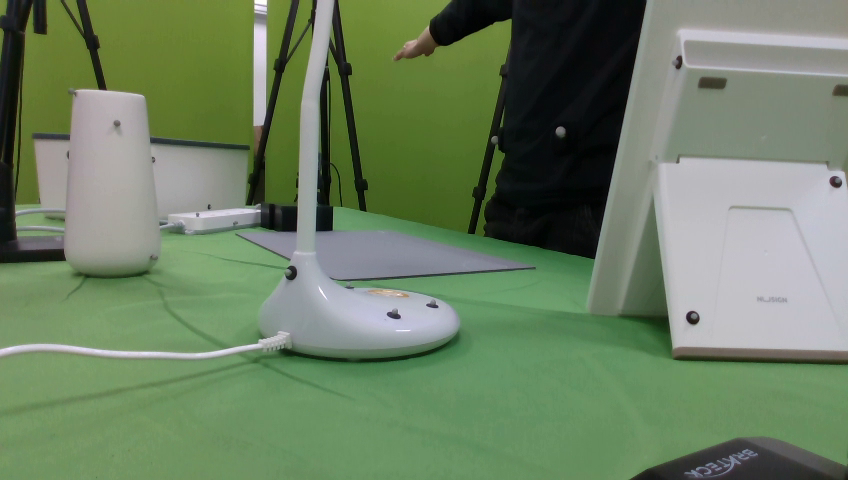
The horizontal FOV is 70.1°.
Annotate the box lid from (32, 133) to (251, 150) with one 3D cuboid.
[{"bbox_3d":[-0.558,-0.200,1.250,0.263,0.015,0.372,5,8,13],"label":"box lid"}]

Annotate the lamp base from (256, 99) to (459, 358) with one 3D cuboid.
[{"bbox_3d":[-0.055,-0.013,0.463,0.160,0.180,0.180,6,11,27],"label":"lamp base"}]

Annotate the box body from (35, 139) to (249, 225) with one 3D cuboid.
[{"bbox_3d":[-0.561,-0.127,1.258,0.254,0.160,0.365,4,8,13],"label":"box body"}]

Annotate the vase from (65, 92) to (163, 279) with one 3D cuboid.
[{"bbox_3d":[-0.347,-0.060,0.673,0.098,0.200,0.098,1,7,0],"label":"vase"}]

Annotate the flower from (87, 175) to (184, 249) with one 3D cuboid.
[{"bbox_3d":[-0.610,-0.063,1.291,0.044,0.038,0.361,-5,25,9],"label":"flower"}]

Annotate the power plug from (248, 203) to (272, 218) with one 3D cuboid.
[{"bbox_3d":[-0.362,-0.049,1.290,0.052,0.035,0.072,10,49,29],"label":"power plug"}]

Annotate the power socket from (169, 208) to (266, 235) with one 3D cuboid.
[{"bbox_3d":[-0.379,-0.038,1.130,0.072,0.032,0.227,4,8,19],"label":"power socket"}]

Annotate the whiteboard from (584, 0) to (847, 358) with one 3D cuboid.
[{"bbox_3d":[0.269,-0.034,0.466,0.217,0.305,0.143,2,27,-1],"label":"whiteboard"}]
